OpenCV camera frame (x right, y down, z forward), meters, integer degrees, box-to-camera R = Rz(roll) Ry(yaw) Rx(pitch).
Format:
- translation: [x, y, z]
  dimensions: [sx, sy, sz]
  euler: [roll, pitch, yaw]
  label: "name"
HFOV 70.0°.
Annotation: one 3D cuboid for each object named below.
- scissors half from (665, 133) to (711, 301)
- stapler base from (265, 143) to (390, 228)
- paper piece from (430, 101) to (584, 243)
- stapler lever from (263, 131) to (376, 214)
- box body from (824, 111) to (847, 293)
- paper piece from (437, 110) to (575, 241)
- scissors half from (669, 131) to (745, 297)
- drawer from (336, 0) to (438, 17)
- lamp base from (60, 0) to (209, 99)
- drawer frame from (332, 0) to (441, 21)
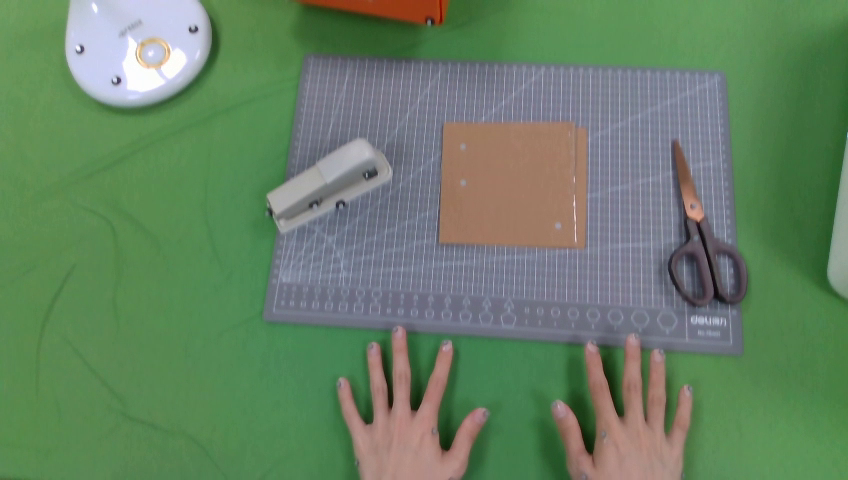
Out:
- translation: [0.249, -0.027, 0.587]
  dimensions: [0.040, 0.013, 0.174]
  euler: [4, 71, -5]
  label: "scissors half"
- translation: [-0.098, -0.060, 0.608]
  dimensions: [0.130, 0.024, 0.041]
  euler: [-28, 72, -4]
  label: "stapler base"
- translation: [0.086, -0.072, 0.621]
  dimensions: [0.135, 0.004, 0.135]
  euler: [12, 77, 13]
  label: "paper piece"
- translation: [-0.101, -0.066, 0.584]
  dimensions: [0.118, 0.040, 0.026]
  euler: [-28, 71, -4]
  label: "stapler lever"
- translation: [0.528, -0.101, 0.521]
  dimensions: [0.253, 0.161, 0.362]
  euler: [17, 76, 7]
  label: "box body"
- translation: [0.082, -0.066, 0.609]
  dimensions: [0.136, 0.009, 0.137]
  euler: [1, 76, 7]
  label: "paper piece"
- translation: [0.269, -0.029, 0.588]
  dimensions: [0.040, 0.013, 0.174]
  euler: [-13, 73, -5]
  label: "scissors half"
- translation: [-0.060, -0.347, 0.615]
  dimensions: [0.194, 0.073, 0.210]
  euler: [12, 74, 7]
  label: "drawer"
- translation: [-0.331, -0.256, 0.595]
  dimensions: [0.178, 0.181, 0.160]
  euler: [36, 78, 15]
  label: "lamp base"
- translation: [-0.060, -0.352, 0.619]
  dimensions: [0.201, 0.083, 0.212]
  euler: [12, 76, 6]
  label: "drawer frame"
